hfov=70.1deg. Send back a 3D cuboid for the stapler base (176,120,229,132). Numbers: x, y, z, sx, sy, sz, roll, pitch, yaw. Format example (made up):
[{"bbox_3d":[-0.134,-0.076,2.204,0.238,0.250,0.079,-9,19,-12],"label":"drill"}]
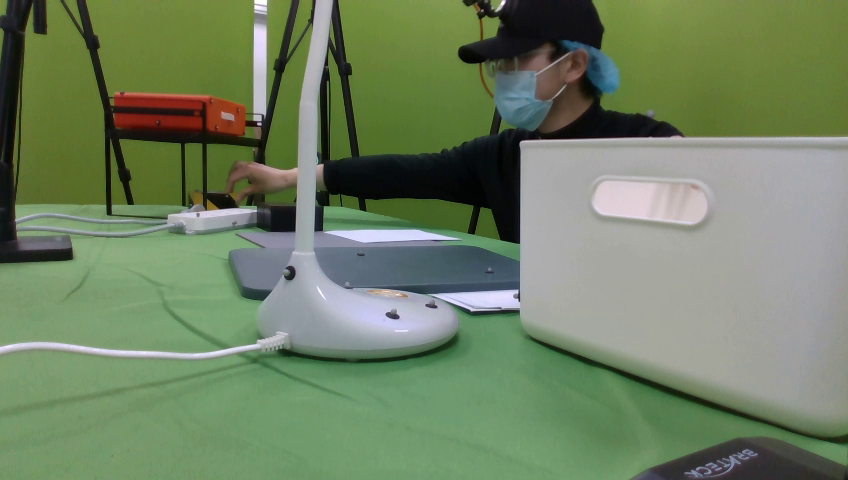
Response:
[{"bbox_3d":[-0.496,-0.257,1.364,0.041,0.024,0.131,2,9,22],"label":"stapler base"}]

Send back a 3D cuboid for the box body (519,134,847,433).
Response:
[{"bbox_3d":[0.279,0.005,0.485,0.366,0.160,0.253,-3,9,-36],"label":"box body"}]

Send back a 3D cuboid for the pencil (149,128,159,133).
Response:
[{"bbox_3d":[-0.528,-0.258,1.361,0.012,0.012,0.195,8,20,35],"label":"pencil"}]

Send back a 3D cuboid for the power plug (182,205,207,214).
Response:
[{"bbox_3d":[-0.456,-0.041,1.196,0.052,0.035,0.072,1,41,23],"label":"power plug"}]

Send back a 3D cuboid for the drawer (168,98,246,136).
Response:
[{"bbox_3d":[-0.539,-0.279,1.374,0.212,0.073,0.194,2,8,5],"label":"drawer"}]

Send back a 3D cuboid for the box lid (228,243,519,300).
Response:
[{"bbox_3d":[-0.044,0.033,0.757,0.373,0.015,0.262,-1,9,-22],"label":"box lid"}]

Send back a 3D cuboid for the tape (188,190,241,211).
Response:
[{"bbox_3d":[-0.480,-0.087,1.394,0.117,0.052,0.117,3,8,0],"label":"tape"}]

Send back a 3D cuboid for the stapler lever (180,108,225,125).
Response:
[{"bbox_3d":[-0.496,-0.281,1.359,0.027,0.040,0.118,2,7,22],"label":"stapler lever"}]

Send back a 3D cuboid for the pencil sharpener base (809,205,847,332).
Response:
[{"bbox_3d":[0.386,0.026,0.518,0.062,0.107,0.076,-4,11,-43],"label":"pencil sharpener base"}]

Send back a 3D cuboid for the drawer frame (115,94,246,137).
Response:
[{"bbox_3d":[-0.543,-0.281,1.374,0.213,0.082,0.201,2,8,4],"label":"drawer frame"}]

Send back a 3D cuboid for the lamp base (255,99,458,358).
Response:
[{"bbox_3d":[-0.056,-0.013,0.462,0.160,0.180,0.180,6,11,27],"label":"lamp base"}]

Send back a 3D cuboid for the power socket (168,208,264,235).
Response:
[{"bbox_3d":[-0.381,-0.038,1.129,0.072,0.032,0.227,4,8,17],"label":"power socket"}]
